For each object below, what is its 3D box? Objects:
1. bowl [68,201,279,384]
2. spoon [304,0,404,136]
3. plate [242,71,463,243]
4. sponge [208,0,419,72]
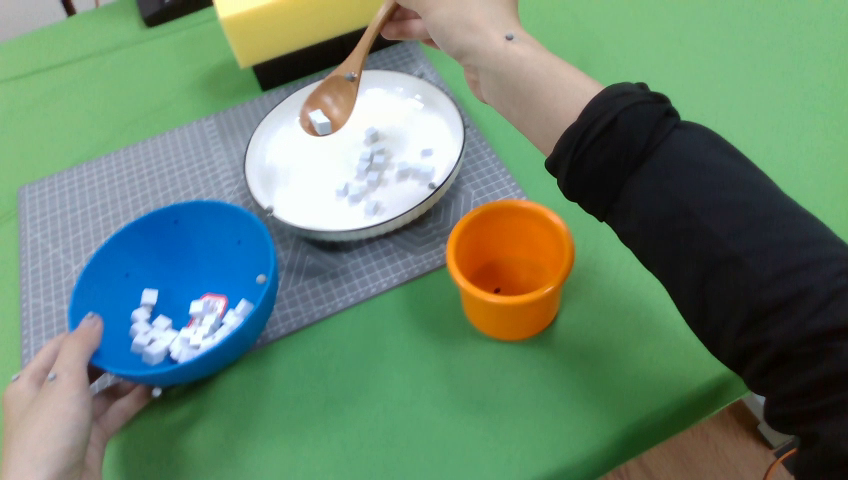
[{"bbox_3d":[-0.177,0.051,0.468,0.151,0.077,0.150,-4,53,5],"label":"bowl"},{"bbox_3d":[-0.034,-0.162,0.469,0.041,0.022,0.194,43,110,19],"label":"spoon"},{"bbox_3d":[-0.066,-0.079,0.575,0.209,0.038,0.207,-4,55,6],"label":"plate"},{"bbox_3d":[-0.122,-0.268,0.647,0.207,0.061,0.117,-22,55,-8],"label":"sponge"}]
